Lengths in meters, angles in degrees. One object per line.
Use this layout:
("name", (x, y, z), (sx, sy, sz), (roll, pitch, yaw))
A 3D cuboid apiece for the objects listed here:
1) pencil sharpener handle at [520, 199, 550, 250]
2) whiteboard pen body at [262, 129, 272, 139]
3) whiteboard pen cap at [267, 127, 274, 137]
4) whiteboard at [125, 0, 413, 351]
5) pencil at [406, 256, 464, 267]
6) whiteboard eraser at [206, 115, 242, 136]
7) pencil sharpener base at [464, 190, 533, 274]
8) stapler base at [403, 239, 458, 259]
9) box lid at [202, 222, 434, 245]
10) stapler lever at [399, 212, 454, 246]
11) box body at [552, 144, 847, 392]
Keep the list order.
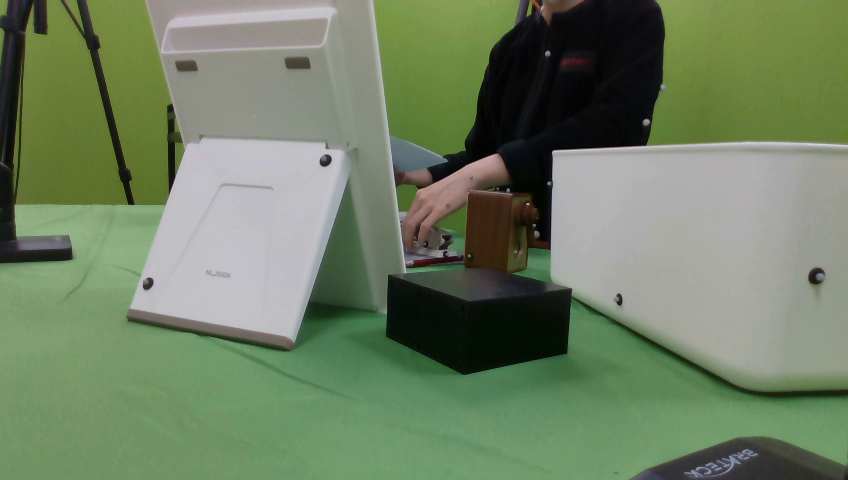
("pencil sharpener handle", (0.147, -0.019, 0.785), (0.030, 0.068, 0.036), (8, 26, 36))
("whiteboard pen body", (-0.361, -0.245, 1.393), (0.017, 0.017, 0.140), (0, 5, -20))
("whiteboard pen cap", (-0.340, -0.239, 1.337), (0.018, 0.018, 0.033), (1, -1, -14))
("whiteboard", (-0.151, -0.050, 0.471), (0.216, 0.305, 0.144), (6, 27, 24))
("pencil", (0.041, 0.028, 0.851), (0.195, 0.012, 0.012), (-5, 11, -44))
("whiteboard eraser", (-0.438, -0.249, 1.320), (0.056, 0.042, 0.112), (-3, 9, -30))
("pencil sharpener base", (0.103, -0.012, 0.812), (0.076, 0.107, 0.061), (8, 9, 36))
("stapler base", (-0.005, 0.008, 0.933), (0.041, 0.024, 0.130), (-8, 14, -43))
("box lid", (-0.196, -0.015, 1.105), (0.373, 0.015, 0.262), (-1, 7, -32))
("stapler lever", (-0.003, -0.018, 0.929), (0.027, 0.040, 0.117), (-8, 15, -43))
("box body", (0.290, 0.002, 0.549), (0.255, 0.160, 0.363), (2, 7, -10))
